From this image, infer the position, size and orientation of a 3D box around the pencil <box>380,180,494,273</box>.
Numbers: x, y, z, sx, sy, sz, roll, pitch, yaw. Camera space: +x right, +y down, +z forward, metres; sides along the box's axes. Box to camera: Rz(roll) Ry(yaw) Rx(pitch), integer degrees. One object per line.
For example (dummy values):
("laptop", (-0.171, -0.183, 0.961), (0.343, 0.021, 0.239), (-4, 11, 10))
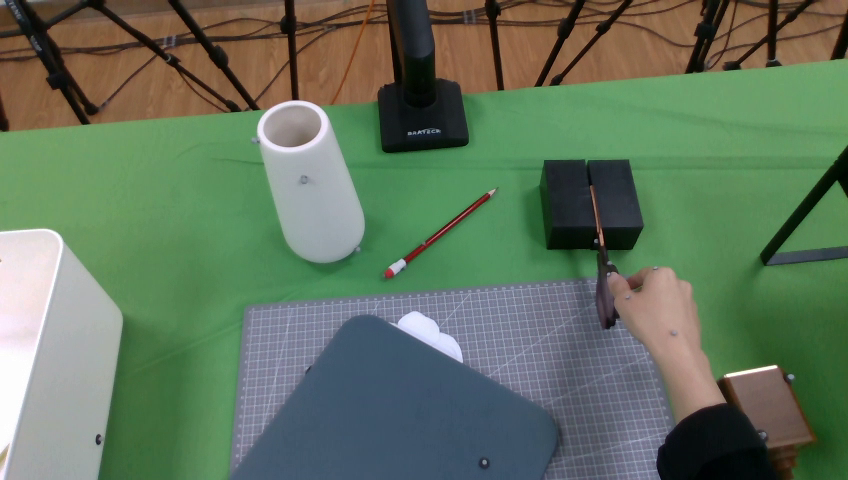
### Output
("pencil", (0.021, -0.021, 0.749), (0.194, 0.012, 0.012), (-39, 65, -22))

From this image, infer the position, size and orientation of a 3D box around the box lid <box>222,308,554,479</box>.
("box lid", (-0.061, 0.257, 0.578), (0.262, 0.015, 0.370), (27, 63, 16))

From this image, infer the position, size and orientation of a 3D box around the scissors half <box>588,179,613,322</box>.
("scissors half", (0.196, 0.009, 0.691), (0.013, 0.040, 0.174), (-1, 71, 0))

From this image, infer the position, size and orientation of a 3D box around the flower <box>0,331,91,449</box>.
("flower", (-0.449, 0.226, 0.620), (0.038, 0.044, 0.359), (-14, 33, 22))

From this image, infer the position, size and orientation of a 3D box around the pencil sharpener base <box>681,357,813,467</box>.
("pencil sharpener base", (0.299, 0.167, 0.569), (0.061, 0.108, 0.076), (-9, 59, -4))

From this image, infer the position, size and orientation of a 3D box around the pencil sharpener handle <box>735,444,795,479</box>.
("pencil sharpener handle", (0.303, 0.203, 0.532), (0.036, 0.068, 0.030), (-1, 57, -16))

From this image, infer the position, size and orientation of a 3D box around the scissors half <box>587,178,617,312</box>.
("scissors half", (0.195, -0.001, 0.673), (0.013, 0.040, 0.173), (-4, 54, 5))

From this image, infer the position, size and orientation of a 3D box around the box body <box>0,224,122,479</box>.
("box body", (-0.445, 0.186, 0.543), (0.254, 0.162, 0.360), (-6, 58, -2))

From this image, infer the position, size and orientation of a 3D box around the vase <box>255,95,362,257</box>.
("vase", (-0.127, -0.064, 0.668), (0.098, 0.202, 0.097), (-1, 57, 2))
